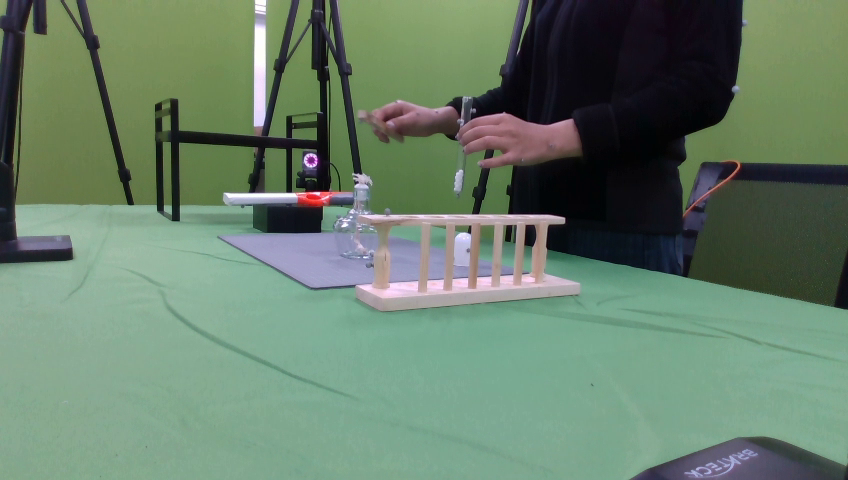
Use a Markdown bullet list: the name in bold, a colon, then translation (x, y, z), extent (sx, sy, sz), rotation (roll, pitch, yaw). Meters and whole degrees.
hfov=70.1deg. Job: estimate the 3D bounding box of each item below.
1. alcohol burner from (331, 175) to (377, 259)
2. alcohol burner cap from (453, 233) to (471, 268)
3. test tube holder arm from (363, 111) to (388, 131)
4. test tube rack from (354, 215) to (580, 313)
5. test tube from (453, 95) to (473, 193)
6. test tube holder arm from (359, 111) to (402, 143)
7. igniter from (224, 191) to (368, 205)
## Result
- **alcohol burner**: translation (-0.091, -0.033, 0.855), extent (0.078, 0.119, 0.078), rotation (4, 7, 0)
- **alcohol burner cap**: translation (0.053, 0.014, 0.823), extent (0.034, 0.048, 0.034), rotation (3, 6, 0)
- **test tube holder arm**: translation (-0.086, -0.208, 1.066), extent (0.010, 0.015, 0.088), rotation (11, -1, 19)
- **test tube rack**: translation (0.053, 0.019, 0.635), extent (0.243, 0.085, 0.066), rotation (-1, 8, -29)
- **test tube**: translation (0.060, -0.146, 0.931), extent (0.017, 0.150, 0.017), rotation (5, 13, -1)
- **test tube holder arm**: translation (-0.077, -0.206, 1.111), extent (0.013, 0.015, 0.179), rotation (11, -1, 18)
- **igniter**: translation (-0.237, -0.079, 1.157), extent (0.278, 0.025, 0.057), rotation (-2, 21, -31)
